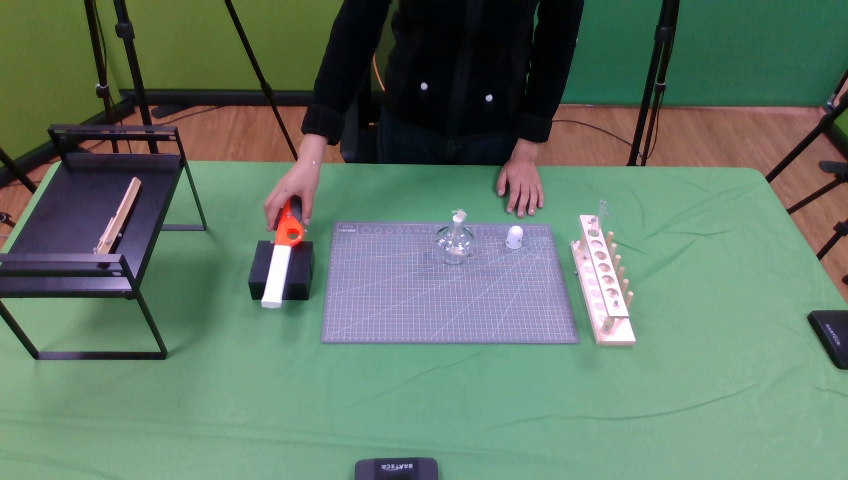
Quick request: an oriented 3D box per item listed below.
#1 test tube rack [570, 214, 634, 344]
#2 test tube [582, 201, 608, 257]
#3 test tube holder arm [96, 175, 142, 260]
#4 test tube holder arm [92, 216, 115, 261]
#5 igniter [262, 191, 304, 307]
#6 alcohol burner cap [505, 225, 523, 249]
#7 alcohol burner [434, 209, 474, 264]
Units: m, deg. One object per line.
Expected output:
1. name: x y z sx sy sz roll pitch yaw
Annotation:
1. test tube rack: 0.333 0.067 1.116 0.067 0.085 0.241 1 46 -4
2. test tube: 0.316 -0.017 1.127 0.017 0.151 0.017 1 51 -1
3. test tube holder arm: -0.473 -0.039 0.946 0.013 0.015 0.177 -18 43 19
4. test tube holder arm: -0.479 -0.004 0.917 0.010 0.015 0.087 -18 44 20
5. igniter: -0.255 0.007 1.104 0.057 0.025 0.275 7 47 -7
6. alcohol burner cap: 0.180 -0.009 1.203 0.034 0.048 0.033 2 46 -2
7. alcohol burner: 0.058 -0.011 1.147 0.078 0.119 0.077 3 44 -3
